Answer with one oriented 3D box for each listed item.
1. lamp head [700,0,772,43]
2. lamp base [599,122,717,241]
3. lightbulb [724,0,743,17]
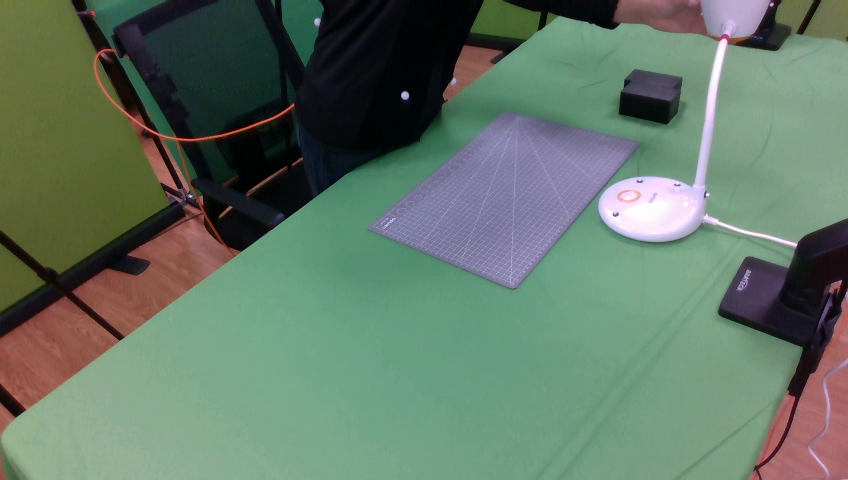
[{"bbox_3d":[0.472,-0.363,0.917,0.112,0.123,0.112,-7,33,5],"label":"lamp head"},{"bbox_3d":[0.367,-0.109,0.919,0.178,0.181,0.160,13,45,20],"label":"lamp base"},{"bbox_3d":[0.466,-0.389,0.907,0.059,0.108,0.059,-10,37,8],"label":"lightbulb"}]
